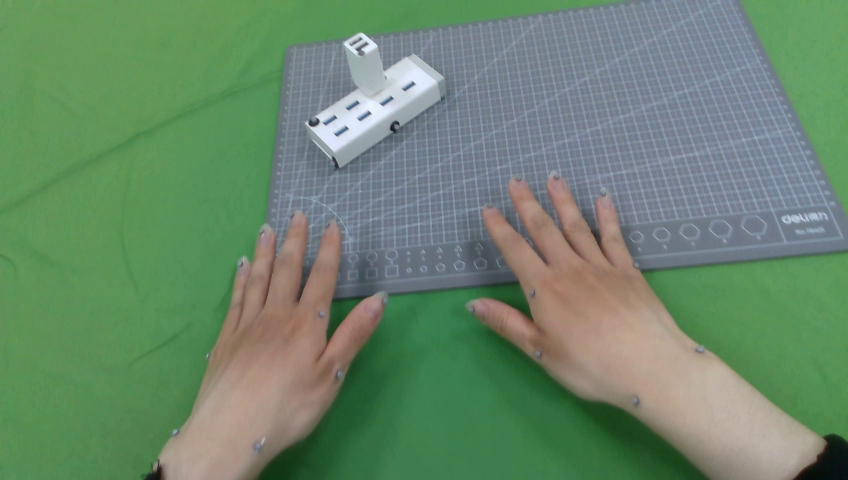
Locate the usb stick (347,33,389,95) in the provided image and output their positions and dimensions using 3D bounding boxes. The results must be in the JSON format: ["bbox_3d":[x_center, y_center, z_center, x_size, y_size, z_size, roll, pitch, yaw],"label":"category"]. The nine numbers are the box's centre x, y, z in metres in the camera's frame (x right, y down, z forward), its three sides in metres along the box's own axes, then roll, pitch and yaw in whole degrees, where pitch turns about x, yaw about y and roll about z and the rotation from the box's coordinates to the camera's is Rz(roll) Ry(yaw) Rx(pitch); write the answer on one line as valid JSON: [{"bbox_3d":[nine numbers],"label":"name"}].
[{"bbox_3d":[-0.047,-0.149,0.533,0.021,0.060,0.027,-38,59,-15],"label":"usb stick"}]

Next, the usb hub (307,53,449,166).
[{"bbox_3d":[-0.041,-0.120,0.549,0.125,0.025,0.049,-36,60,-15],"label":"usb hub"}]
